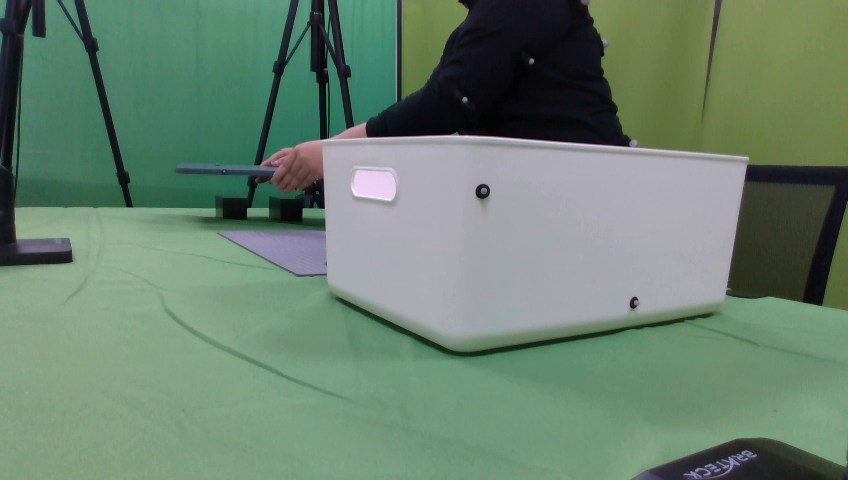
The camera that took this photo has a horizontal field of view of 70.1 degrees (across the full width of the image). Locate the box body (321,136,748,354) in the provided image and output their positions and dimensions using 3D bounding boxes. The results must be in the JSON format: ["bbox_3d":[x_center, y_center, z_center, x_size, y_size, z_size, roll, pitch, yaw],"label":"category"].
[{"bbox_3d":[0.105,-0.011,0.604,0.366,0.160,0.253,-2,8,-33],"label":"box body"}]

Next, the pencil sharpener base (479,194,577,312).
[{"bbox_3d":[0.103,0.011,0.591,0.077,0.107,0.061,-1,7,-33],"label":"pencil sharpener base"}]

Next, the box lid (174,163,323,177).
[{"bbox_3d":[-0.339,-0.149,1.310,0.373,0.015,0.262,0,8,-20],"label":"box lid"}]

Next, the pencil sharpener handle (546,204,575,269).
[{"bbox_3d":[0.145,-0.003,0.619,0.031,0.067,0.036,-1,17,-33],"label":"pencil sharpener handle"}]
